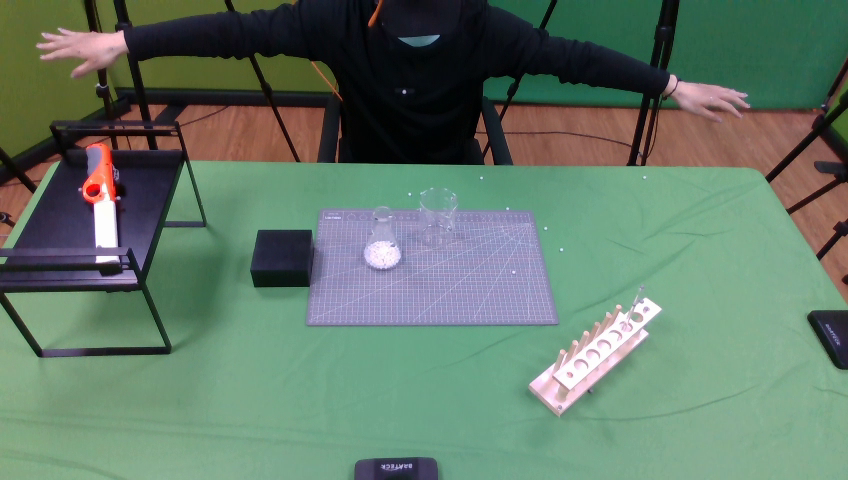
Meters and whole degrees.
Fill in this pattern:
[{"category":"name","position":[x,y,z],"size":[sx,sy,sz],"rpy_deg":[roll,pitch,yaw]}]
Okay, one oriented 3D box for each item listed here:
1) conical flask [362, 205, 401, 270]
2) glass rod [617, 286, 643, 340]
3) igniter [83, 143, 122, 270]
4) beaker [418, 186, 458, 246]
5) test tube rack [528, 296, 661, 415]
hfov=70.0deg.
[{"category":"conical flask","position":[-0.078,-0.008,1.127],"size":[0.075,0.122,0.075],"rpy_deg":[2,46,-2]},{"category":"glass rod","position":[0.324,0.128,0.964],"size":[0.008,0.201,0.008],"rpy_deg":[-2,54,3]},{"category":"igniter","position":[-0.508,-0.063,0.962],"size":[0.057,0.025,0.274],"rpy_deg":[-14,53,-18]},{"category":"beaker","position":[0.026,-0.042,1.183],"size":[0.074,0.101,0.083],"rpy_deg":[-19,51,-20]},{"category":"test tube rack","position":[0.285,0.178,1.005],"size":[0.242,0.085,0.066],"rpy_deg":[-31,55,-29]}]
